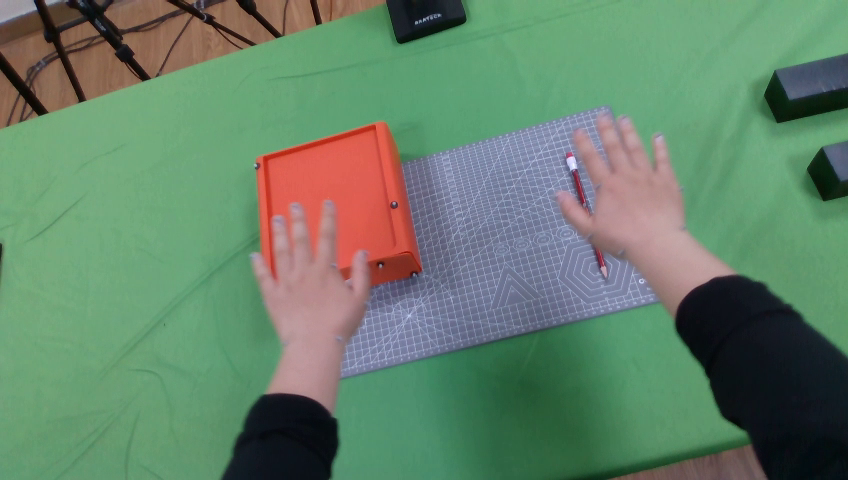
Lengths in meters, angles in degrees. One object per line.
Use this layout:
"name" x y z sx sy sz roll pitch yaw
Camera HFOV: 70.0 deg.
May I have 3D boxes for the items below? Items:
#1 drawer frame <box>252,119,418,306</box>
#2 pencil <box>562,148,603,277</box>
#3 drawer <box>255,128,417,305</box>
"drawer frame" -0.128 -0.036 0.837 0.201 0.083 0.211 -16 63 6
"pencil" 0.211 -0.039 0.805 0.012 0.012 0.192 -13 66 7
"drawer" -0.125 -0.034 0.837 0.194 0.074 0.210 -15 63 7
